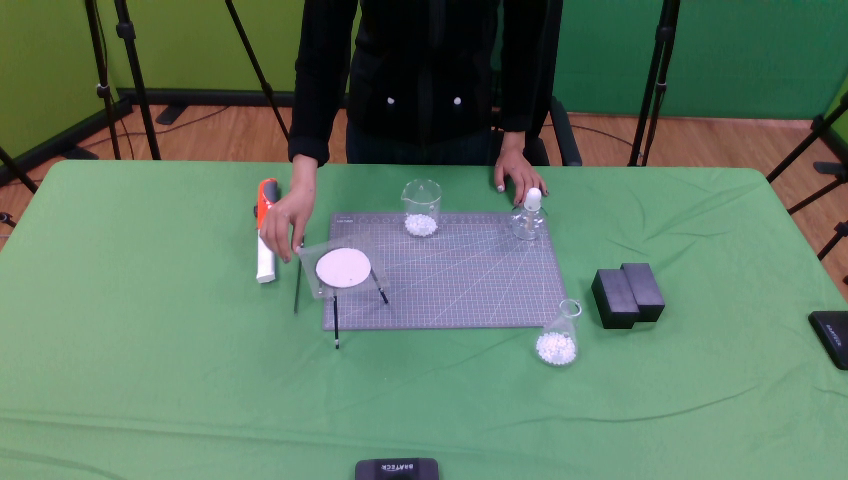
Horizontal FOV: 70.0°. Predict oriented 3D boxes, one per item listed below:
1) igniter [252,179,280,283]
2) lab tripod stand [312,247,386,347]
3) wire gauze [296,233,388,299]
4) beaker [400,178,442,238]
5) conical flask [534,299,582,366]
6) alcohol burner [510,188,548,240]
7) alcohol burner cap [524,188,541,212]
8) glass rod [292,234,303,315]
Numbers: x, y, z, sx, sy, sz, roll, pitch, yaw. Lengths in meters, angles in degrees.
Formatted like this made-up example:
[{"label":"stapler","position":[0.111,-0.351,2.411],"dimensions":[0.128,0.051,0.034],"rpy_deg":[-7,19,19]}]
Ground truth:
[{"label":"igniter","position":[-0.312,-0.027,1.197],"dimensions":[0.057,0.025,0.274],"rpy_deg":[-12,47,-1]},{"label":"lab tripod stand","position":[-0.134,0.085,1.028],"dimensions":[0.148,0.132,0.147],"rpy_deg":[2,45,-1]},{"label":"wire gauze","position":[-0.133,0.041,0.977],"dimensions":[0.125,0.011,0.120],"rpy_deg":[-12,47,-16]},{"label":"beaker","position":[-0.008,-0.059,1.200],"dimensions":[0.084,0.101,0.073],"rpy_deg":[-14,48,-17]},{"label":"conical flask","position":[0.229,0.149,1.005],"dimensions":[0.075,0.122,0.075],"rpy_deg":[2,46,-2]},{"label":"alcohol burner","position":[0.211,-0.057,1.204],"dimensions":[0.078,0.120,0.077],"rpy_deg":[1,47,-1]},{"label":"alcohol burner cap","position":[0.212,-0.081,1.177],"dimensions":[0.034,0.048,0.033],"rpy_deg":[-2,54,3]},{"label":"glass rod","position":[-0.235,0.059,1.133],"dimensions":[0.008,0.008,0.198],"rpy_deg":[-1,46,-5]}]
